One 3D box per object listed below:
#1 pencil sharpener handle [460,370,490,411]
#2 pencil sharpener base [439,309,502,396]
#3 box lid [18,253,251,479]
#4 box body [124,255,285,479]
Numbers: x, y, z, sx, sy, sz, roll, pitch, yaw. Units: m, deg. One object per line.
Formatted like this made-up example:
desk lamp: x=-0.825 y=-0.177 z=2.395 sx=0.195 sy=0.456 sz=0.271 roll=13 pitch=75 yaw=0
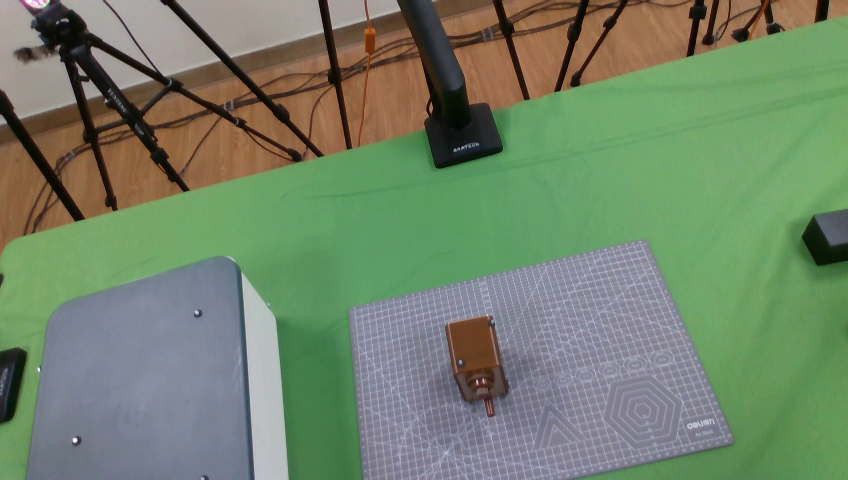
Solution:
pencil sharpener handle: x=0.067 y=0.183 z=0.732 sx=0.036 sy=0.068 sz=0.030 roll=-16 pitch=56 yaw=9
pencil sharpener base: x=0.061 y=0.148 z=0.770 sx=0.061 sy=0.108 sz=0.076 roll=-12 pitch=57 yaw=4
box lid: x=-0.335 y=0.192 z=0.702 sx=0.263 sy=0.015 sz=0.367 roll=-16 pitch=57 yaw=0
box body: x=-0.325 y=0.230 z=0.771 sx=0.254 sy=0.162 sz=0.360 roll=-16 pitch=56 yaw=1
